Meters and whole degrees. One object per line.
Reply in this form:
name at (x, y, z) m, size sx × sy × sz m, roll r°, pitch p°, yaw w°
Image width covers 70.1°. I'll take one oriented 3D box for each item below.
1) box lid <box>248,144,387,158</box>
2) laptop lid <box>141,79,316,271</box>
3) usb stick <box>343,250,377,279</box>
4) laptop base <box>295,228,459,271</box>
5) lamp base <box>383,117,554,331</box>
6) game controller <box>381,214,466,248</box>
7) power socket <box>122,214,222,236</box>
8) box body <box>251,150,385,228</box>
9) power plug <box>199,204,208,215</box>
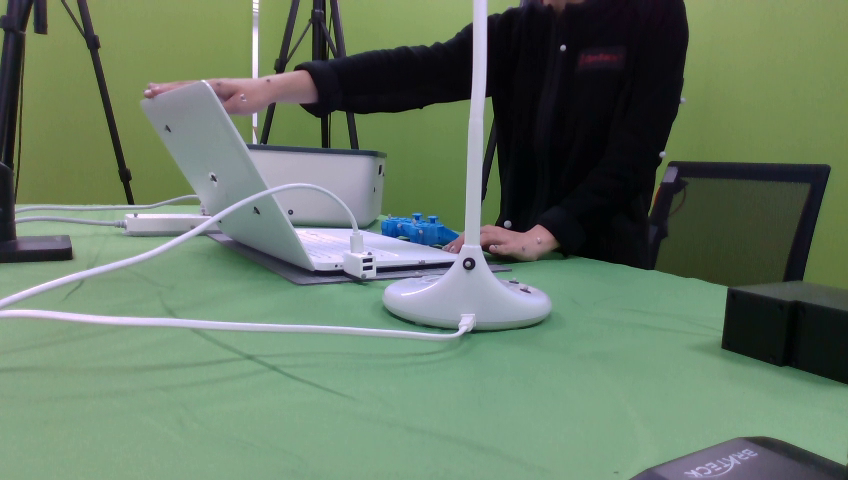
box lid at (-0.275, -0.196, 1.326) m, size 0.372 × 0.015 × 0.263 m, roll 4°, pitch 8°, yaw 1°
laptop lid at (-0.265, -0.081, 0.774) m, size 0.013 × 0.242 × 0.355 m, roll -37°, pitch 28°, yaw -25°
usb stick at (-0.076, 0.026, 0.687) m, size 0.021 × 0.027 × 0.059 m, roll -8°, pitch 9°, yaw -31°
laptop base at (-0.123, 0.011, 0.889) m, size 0.237 × 0.023 × 0.352 m, roll 2°, pitch 6°, yaw -35°
lamp base at (0.045, -0.019, 0.547) m, size 0.161 × 0.180 × 0.179 m, roll 2°, pitch 10°, yaw -4°
game controller at (-0.006, -0.017, 1.039) m, size 0.097 × 0.051 × 0.154 m, roll -5°, pitch 10°, yaw -33°
power socket at (-0.399, -0.028, 1.049) m, size 0.228 × 0.032 × 0.072 m, roll -3°, pitch 8°, yaw -34°
box body at (-0.276, -0.124, 1.334) m, size 0.364 × 0.160 × 0.254 m, roll 3°, pitch 7°, yaw 1°
power plug at (-0.387, -0.055, 1.089) m, size 0.035 × 0.052 × 0.072 m, roll -1°, pitch 6°, yaw -22°
